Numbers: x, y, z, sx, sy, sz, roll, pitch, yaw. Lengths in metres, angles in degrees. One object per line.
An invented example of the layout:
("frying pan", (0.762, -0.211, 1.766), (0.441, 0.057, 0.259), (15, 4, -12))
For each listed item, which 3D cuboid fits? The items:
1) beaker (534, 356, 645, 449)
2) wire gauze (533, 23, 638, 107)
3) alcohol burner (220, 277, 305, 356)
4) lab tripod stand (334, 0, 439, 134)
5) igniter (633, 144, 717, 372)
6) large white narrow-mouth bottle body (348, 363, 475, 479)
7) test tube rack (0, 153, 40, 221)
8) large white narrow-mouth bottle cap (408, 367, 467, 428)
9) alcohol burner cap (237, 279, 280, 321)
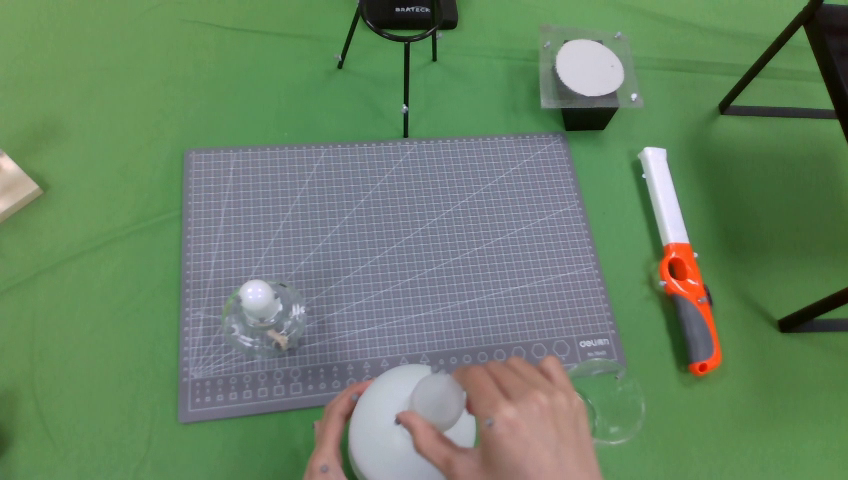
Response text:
("beaker", (0.147, 0.156, 0.572), (0.084, 0.101, 0.073), (26, 65, 5))
("wire gauze", (0.193, -0.212, 0.737), (0.122, 0.011, 0.124), (3, 66, -7))
("alcohol burner", (-0.150, 0.065, 0.559), (0.078, 0.120, 0.077), (4, 64, -8))
("lab tripod stand", (-0.034, -0.218, 0.693), (0.149, 0.132, 0.147), (4, 66, -8))
("igniter", (0.285, 0.013, 0.693), (0.057, 0.025, 0.274), (2, 66, -18))
("large white narrow-mouth bottle body", (-0.012, 0.155, 0.497), (0.102, 0.196, 0.101), (3, 65, -6))
("test tube rack", (-0.502, -0.009, 0.561), (0.066, 0.085, 0.242), (41, 67, 11))
("large white narrow-mouth bottle cap", (0.009, 0.102, 0.394), (0.038, 0.024, 0.037), (3, 65, -6))
("alcohol burner cap", (-0.146, 0.051, 0.526), (0.034, 0.048, 0.033), (1, 72, -4))
